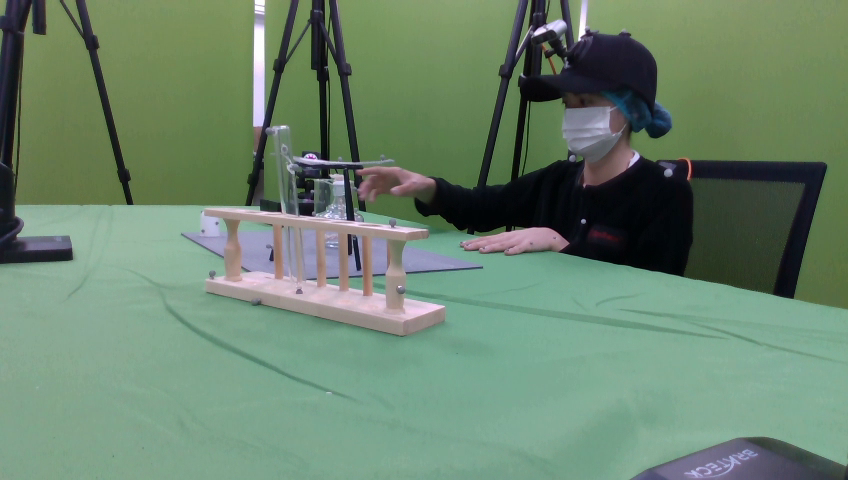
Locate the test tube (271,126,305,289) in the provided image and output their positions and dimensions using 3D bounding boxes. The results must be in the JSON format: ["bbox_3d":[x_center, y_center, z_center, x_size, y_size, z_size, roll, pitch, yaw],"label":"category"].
[{"bbox_3d":[-0.124,-0.028,0.554,0.017,0.150,0.017,-5,7,1],"label":"test tube"}]

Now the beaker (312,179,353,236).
[{"bbox_3d":[-0.168,-0.060,1.104,0.074,0.100,0.083,1,8,-13],"label":"beaker"}]

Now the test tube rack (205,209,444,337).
[{"bbox_3d":[-0.100,0.021,0.565,0.241,0.085,0.067,7,9,32],"label":"test tube rack"}]

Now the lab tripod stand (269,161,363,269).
[{"bbox_3d":[-0.125,-0.036,0.794,0.148,0.131,0.148,5,7,0],"label":"lab tripod stand"}]

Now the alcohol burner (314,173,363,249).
[{"bbox_3d":[-0.135,-0.046,0.952,0.078,0.119,0.078,1,9,0],"label":"alcohol burner"}]

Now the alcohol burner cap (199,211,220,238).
[{"bbox_3d":[-0.356,-0.027,1.002,0.034,0.048,0.034,2,7,0],"label":"alcohol burner cap"}]

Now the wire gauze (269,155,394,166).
[{"bbox_3d":[-0.121,-0.102,0.785,0.122,0.011,0.124,-3,10,-39],"label":"wire gauze"}]
